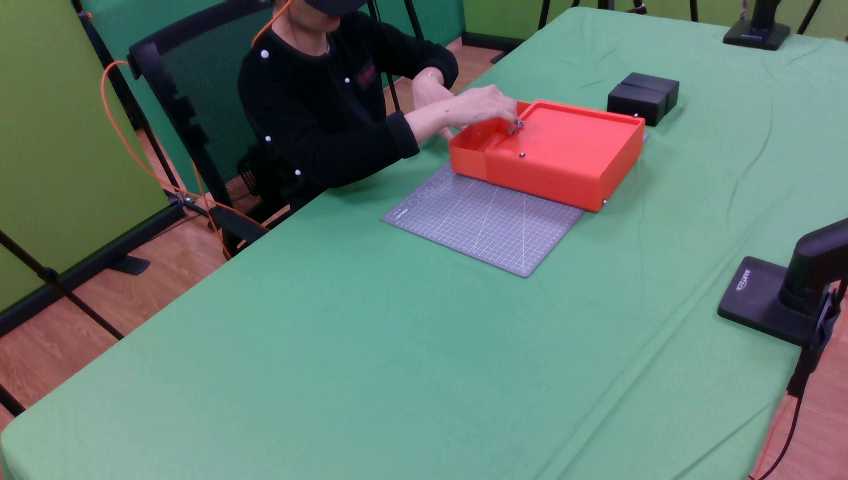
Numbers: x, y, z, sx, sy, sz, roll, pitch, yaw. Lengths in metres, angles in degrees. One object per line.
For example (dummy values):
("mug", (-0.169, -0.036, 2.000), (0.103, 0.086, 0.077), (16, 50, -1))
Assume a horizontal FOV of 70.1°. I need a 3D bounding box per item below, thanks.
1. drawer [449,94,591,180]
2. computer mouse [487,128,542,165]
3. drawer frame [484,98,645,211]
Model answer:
("drawer", (0.184, -0.179, 1.109), (0.210, 0.073, 0.195), (20, 47, 30))
("computer mouse", (0.170, -0.182, 1.136), (0.062, 0.041, 0.117), (17, 42, 34))
("drawer frame", (0.248, -0.158, 1.070), (0.212, 0.083, 0.202), (20, 47, 29))
